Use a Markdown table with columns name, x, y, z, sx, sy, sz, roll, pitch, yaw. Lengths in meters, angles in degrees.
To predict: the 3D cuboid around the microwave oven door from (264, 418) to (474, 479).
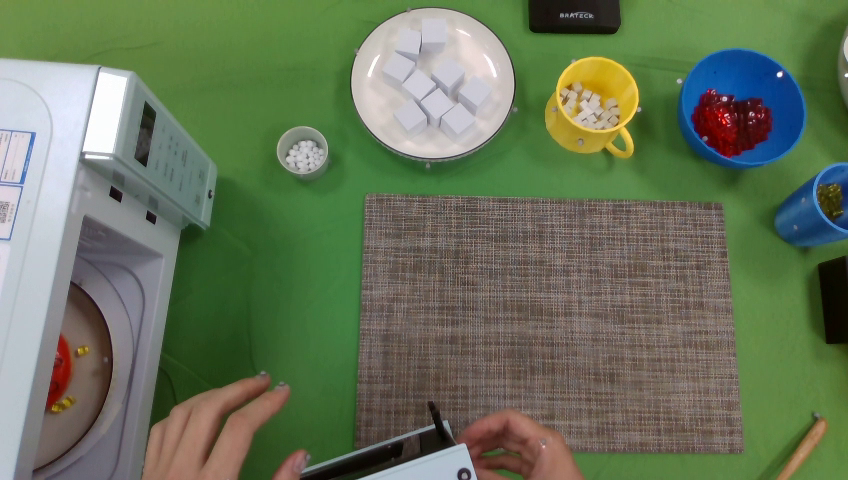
| name | x | y | z | sx | sy | sz | roll | pitch | yaw |
| --- | --- | --- | --- | --- | --- | --- | --- | --- | --- |
| microwave oven door | -0.135 | 0.241 | 0.549 | 0.356 | 0.245 | 0.039 | -17 | 77 | -5 |

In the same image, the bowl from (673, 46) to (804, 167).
| name | x | y | z | sx | sy | sz | roll | pitch | yaw |
| --- | --- | --- | --- | --- | --- | --- | --- | --- | --- |
| bowl | 0.374 | -0.153 | 0.752 | 0.151 | 0.077 | 0.150 | 0 | 78 | -1 |

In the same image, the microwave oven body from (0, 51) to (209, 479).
| name | x | y | z | sx | sy | sz | roll | pitch | yaw |
| --- | --- | --- | --- | --- | --- | --- | --- | --- | --- |
| microwave oven body | -0.426 | 0.074 | 0.581 | 0.326 | 0.261 | 0.439 | 5 | 78 | -1 |

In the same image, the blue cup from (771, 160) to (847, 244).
| name | x | y | z | sx | sy | sz | roll | pitch | yaw |
| --- | --- | --- | --- | --- | --- | --- | --- | --- | --- |
| blue cup | 0.467 | -0.036 | 0.717 | 0.093 | 0.100 | 0.092 | 0 | 76 | -1 |

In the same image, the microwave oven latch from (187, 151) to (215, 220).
| name | x | y | z | sx | sy | sz | roll | pitch | yaw |
| --- | --- | --- | --- | --- | --- | --- | --- | --- | --- |
| microwave oven latch | -0.267 | -0.065 | 0.715 | 0.030 | 0.029 | 0.079 | 6 | 78 | -1 |

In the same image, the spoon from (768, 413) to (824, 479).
| name | x | y | z | sx | sy | sz | roll | pitch | yaw |
| --- | --- | --- | --- | --- | --- | --- | --- | --- | --- |
| spoon | 0.400 | 0.270 | 0.689 | 0.193 | 0.022 | 0.041 | -43 | 70 | -10 |

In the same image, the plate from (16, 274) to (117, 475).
| name | x | y | z | sx | sy | sz | roll | pitch | yaw |
| --- | --- | --- | --- | --- | --- | --- | --- | --- | --- |
| plate | -0.419 | 0.133 | 0.623 | 0.209 | 0.038 | 0.208 | 0 | 78 | -2 |

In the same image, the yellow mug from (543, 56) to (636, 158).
| name | x | y | z | sx | sy | sz | roll | pitch | yaw |
| --- | --- | --- | --- | --- | --- | --- | --- | --- | --- |
| yellow mug | 0.214 | -0.156 | 0.755 | 0.100 | 0.064 | 0.130 | -35 | 82 | -9 |

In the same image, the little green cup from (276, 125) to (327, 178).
| name | x | y | z | sx | sy | sz | roll | pitch | yaw |
| --- | --- | --- | --- | --- | --- | --- | --- | --- | --- |
| little green cup | -0.148 | -0.106 | 0.745 | 0.061 | 0.039 | 0.061 | 0 | 79 | -2 |

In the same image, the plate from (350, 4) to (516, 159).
| name | x | y | z | sx | sy | sz | roll | pitch | yaw |
| --- | --- | --- | --- | --- | --- | --- | --- | --- | --- |
| plate | 0.011 | -0.198 | 0.772 | 0.208 | 0.039 | 0.206 | 0 | 78 | -1 |

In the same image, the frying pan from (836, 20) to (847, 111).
| name | x | y | z | sx | sy | sz | roll | pitch | yaw |
| --- | --- | --- | --- | --- | --- | --- | --- | --- | --- |
| frying pan | 0.656 | -0.119 | 0.740 | 0.307 | 0.103 | 0.484 | 6 | 70 | 1 |

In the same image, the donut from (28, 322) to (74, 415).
| name | x | y | z | sx | sy | sz | roll | pitch | yaw |
| --- | --- | --- | --- | --- | --- | --- | --- | --- | --- |
| donut | -0.405 | 0.127 | 0.610 | 0.099 | 0.048 | 0.098 | 1 | 80 | -3 |
